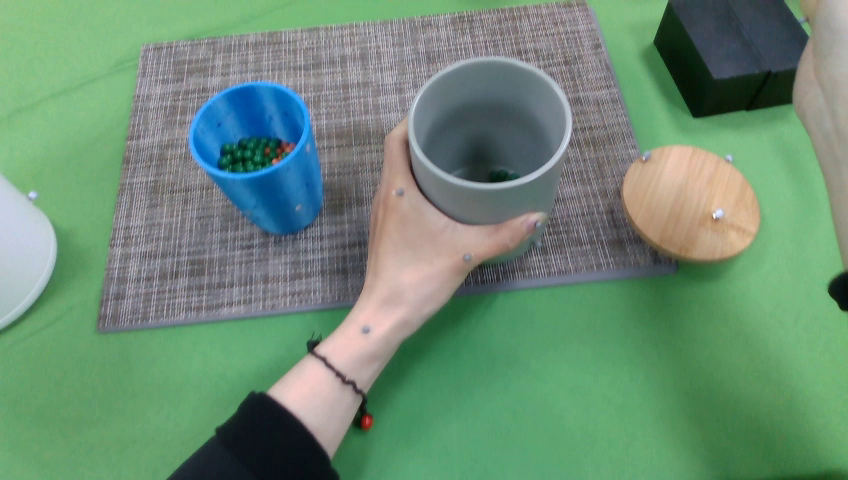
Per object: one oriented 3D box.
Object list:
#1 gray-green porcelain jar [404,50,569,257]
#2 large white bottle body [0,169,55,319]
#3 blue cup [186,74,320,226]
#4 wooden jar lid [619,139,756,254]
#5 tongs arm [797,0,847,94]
[{"bbox_3d":[0.043,-0.054,0.440,0.106,0.127,0.105,-1,64,3],"label":"gray-green porcelain jar"},{"bbox_3d":[-0.364,-0.025,0.410,0.130,0.186,0.129,0,62,1],"label":"large white bottle body"},{"bbox_3d":[-0.120,-0.060,0.466,0.092,0.101,0.092,-1,63,3],"label":"blue cup"},{"bbox_3d":[0.210,-0.034,0.491,0.108,0.021,0.107,1,60,-1],"label":"wooden jar lid"},{"bbox_3d":[0.408,-0.076,0.502,0.051,0.027,0.381,-2,62,-7],"label":"tongs arm"}]
